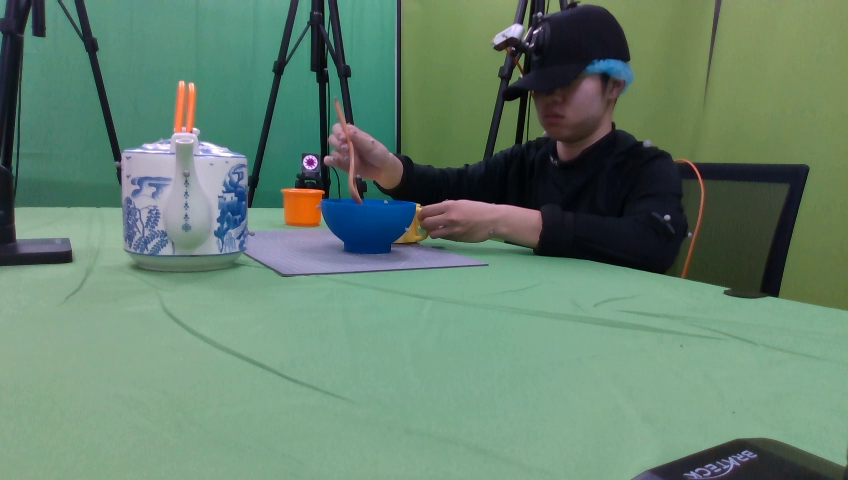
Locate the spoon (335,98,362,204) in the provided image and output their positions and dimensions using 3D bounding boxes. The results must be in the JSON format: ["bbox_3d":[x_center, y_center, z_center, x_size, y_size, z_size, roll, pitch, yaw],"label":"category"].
[{"bbox_3d":[-0.119,-0.141,0.971,0.021,0.193,0.042,-11,-13,5],"label":"spoon"}]

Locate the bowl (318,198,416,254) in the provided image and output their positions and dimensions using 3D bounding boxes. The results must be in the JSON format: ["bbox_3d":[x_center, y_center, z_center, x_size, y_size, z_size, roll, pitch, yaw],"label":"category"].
[{"bbox_3d":[-0.089,-0.022,0.941,0.151,0.077,0.151,2,7,0],"label":"bowl"}]

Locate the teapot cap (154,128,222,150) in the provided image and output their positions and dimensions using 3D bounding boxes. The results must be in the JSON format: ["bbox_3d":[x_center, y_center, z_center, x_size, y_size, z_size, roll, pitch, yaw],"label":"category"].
[{"bbox_3d":[-0.294,-0.117,0.754,0.085,0.044,0.085,4,9,0],"label":"teapot cap"}]

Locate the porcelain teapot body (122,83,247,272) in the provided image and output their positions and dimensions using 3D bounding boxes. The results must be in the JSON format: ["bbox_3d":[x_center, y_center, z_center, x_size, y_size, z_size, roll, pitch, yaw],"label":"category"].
[{"bbox_3d":[-0.286,-0.075,0.733,0.146,0.225,0.204,0,8,-24],"label":"porcelain teapot body"}]

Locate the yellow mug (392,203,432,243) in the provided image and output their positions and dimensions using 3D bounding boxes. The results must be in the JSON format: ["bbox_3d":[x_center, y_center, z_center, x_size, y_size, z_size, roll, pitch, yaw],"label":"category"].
[{"bbox_3d":[-0.044,-0.032,1.069,0.130,0.064,0.100,6,9,29],"label":"yellow mug"}]
